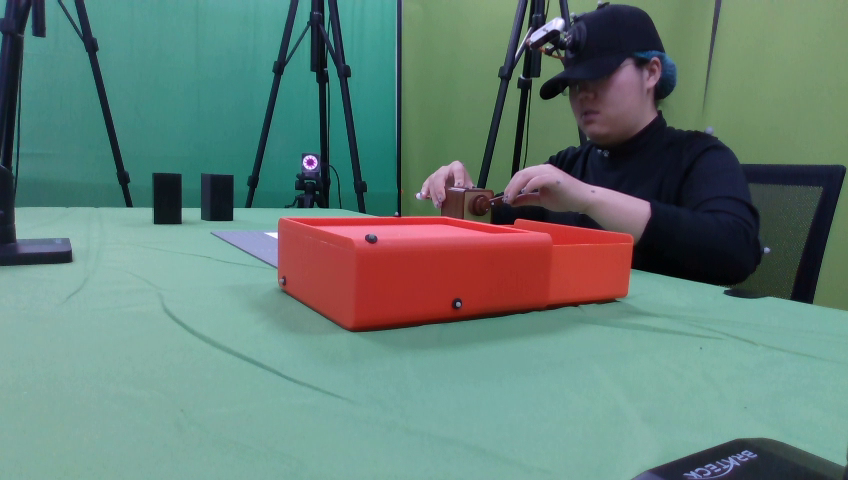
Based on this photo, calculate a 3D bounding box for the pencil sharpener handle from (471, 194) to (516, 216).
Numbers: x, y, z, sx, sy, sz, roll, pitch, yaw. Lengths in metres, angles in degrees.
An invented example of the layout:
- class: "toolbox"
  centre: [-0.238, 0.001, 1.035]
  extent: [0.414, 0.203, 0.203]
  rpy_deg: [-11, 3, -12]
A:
- class: "pencil sharpener handle"
  centre: [0.109, -0.057, 0.948]
  extent: [0.068, 0.036, 0.030]
  rpy_deg: [-18, 16, -26]

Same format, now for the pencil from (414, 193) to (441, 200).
- class: "pencil"
  centre: [0.032, -0.073, 1.055]
  extent: [0.012, 0.012, 0.193]
  rpy_deg: [-1, 7, -29]

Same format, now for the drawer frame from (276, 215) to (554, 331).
- class: "drawer frame"
  centre: [-0.015, 0.022, 0.610]
  extent: [0.215, 0.082, 0.200]
  rpy_deg: [-2, 9, -32]

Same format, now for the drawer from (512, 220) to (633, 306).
- class: "drawer"
  centre: [0.085, 0.022, 0.674]
  extent: [0.213, 0.073, 0.193]
  rpy_deg: [-3, 9, -32]

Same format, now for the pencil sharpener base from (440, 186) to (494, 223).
- class: "pencil sharpener base"
  centre: [0.070, -0.032, 0.989]
  extent: [0.061, 0.107, 0.076]
  rpy_deg: [-1, 9, -29]
